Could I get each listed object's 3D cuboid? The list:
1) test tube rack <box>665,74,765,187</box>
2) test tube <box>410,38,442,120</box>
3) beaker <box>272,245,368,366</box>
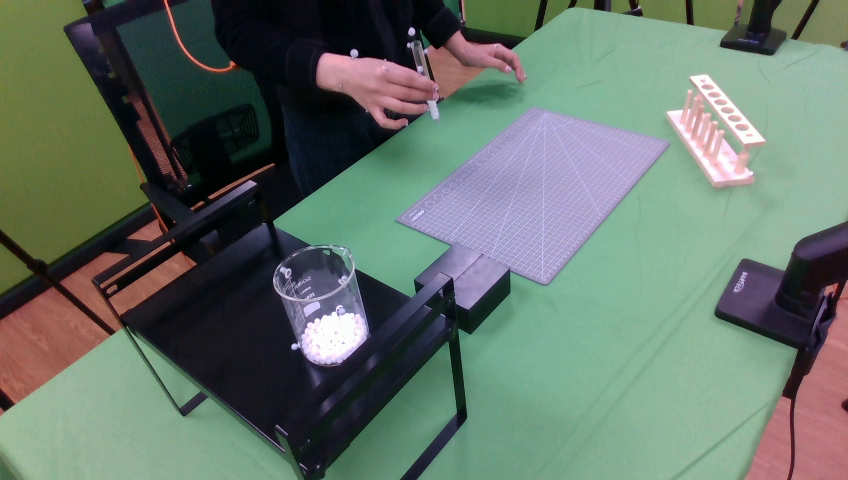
[{"bbox_3d":[0.512,-0.201,1.082,0.067,0.085,0.241,-6,41,2],"label":"test tube rack"},{"bbox_3d":[0.005,-0.241,0.922,0.017,0.151,0.017,-8,53,11],"label":"test tube"},{"bbox_3d":[-0.093,0.064,0.578,0.073,0.101,0.084,21,48,29],"label":"beaker"}]
